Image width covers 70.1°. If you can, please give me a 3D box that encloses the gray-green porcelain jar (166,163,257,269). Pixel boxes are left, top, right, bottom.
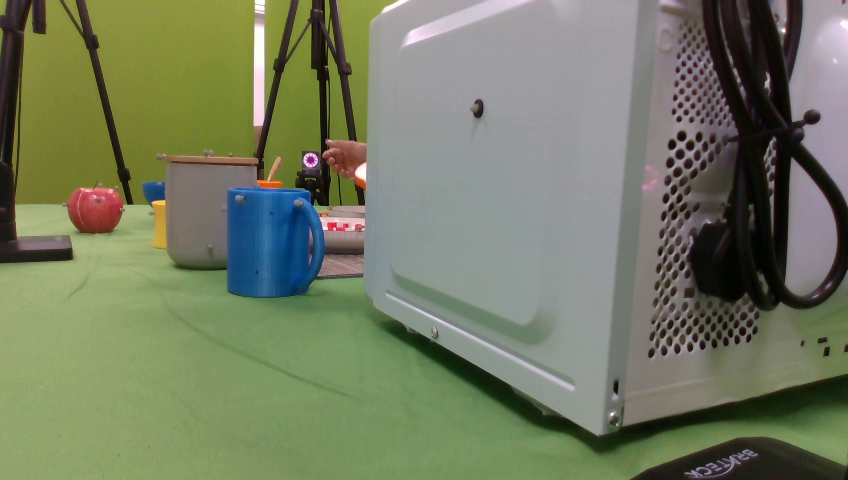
[{"bbox_3d":[-0.263,-0.031,0.754,0.106,0.126,0.106,2,7,0],"label":"gray-green porcelain jar"}]

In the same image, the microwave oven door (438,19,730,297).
[{"bbox_3d":[0.181,-0.076,0.618,0.358,0.243,0.039,-2,8,-28],"label":"microwave oven door"}]

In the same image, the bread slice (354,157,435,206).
[{"bbox_3d":[-0.060,-0.114,1.116,0.134,0.018,0.107,29,41,26],"label":"bread slice"}]

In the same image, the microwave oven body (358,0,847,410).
[{"bbox_3d":[0.210,-0.051,0.471,0.444,0.260,0.324,-1,7,-28],"label":"microwave oven body"}]

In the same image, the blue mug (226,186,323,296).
[{"bbox_3d":[-0.148,0.000,0.618,0.116,0.106,0.083,7,9,33],"label":"blue mug"}]

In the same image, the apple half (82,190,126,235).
[{"bbox_3d":[-0.517,-0.046,0.994,0.032,0.081,0.081,0,6,26],"label":"apple half"}]

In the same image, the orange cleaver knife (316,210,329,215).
[{"bbox_3d":[-0.259,-0.064,1.423,0.212,0.012,0.077,-4,3,-30],"label":"orange cleaver knife"}]

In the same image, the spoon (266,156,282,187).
[{"bbox_3d":[-0.391,-0.150,1.547,0.041,0.193,0.021,3,-37,8],"label":"spoon"}]

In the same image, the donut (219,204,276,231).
[{"bbox_3d":[-0.316,-0.039,1.083,0.099,0.048,0.099,2,7,0],"label":"donut"}]

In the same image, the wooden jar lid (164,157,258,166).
[{"bbox_3d":[-0.261,-0.093,0.746,0.108,0.020,0.108,1,9,0],"label":"wooden jar lid"}]

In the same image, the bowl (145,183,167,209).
[{"bbox_3d":[-0.459,-0.068,1.175,0.151,0.077,0.151,2,7,0],"label":"bowl"}]

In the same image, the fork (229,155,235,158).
[{"bbox_3d":[-0.459,-0.134,1.415,0.028,0.018,0.207,-1,-34,-24],"label":"fork"}]

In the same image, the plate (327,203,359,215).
[{"bbox_3d":[-0.102,-0.053,1.299,0.209,0.038,0.209,2,8,0],"label":"plate"}]

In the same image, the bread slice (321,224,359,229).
[{"bbox_3d":[-0.125,-0.010,0.938,0.131,0.019,0.105,7,9,31],"label":"bread slice"}]

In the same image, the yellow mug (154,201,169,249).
[{"bbox_3d":[-0.338,-0.022,0.899,0.130,0.064,0.100,8,9,34],"label":"yellow mug"}]

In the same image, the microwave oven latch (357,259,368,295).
[{"bbox_3d":[-0.019,0.031,0.529,0.079,0.029,0.030,-1,7,-26],"label":"microwave oven latch"}]

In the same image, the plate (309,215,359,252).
[{"bbox_3d":[-0.130,-0.011,0.945,0.208,0.039,0.207,2,8,0],"label":"plate"}]

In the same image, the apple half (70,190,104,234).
[{"bbox_3d":[-0.552,-0.047,1.009,0.053,0.074,0.081,0,9,26],"label":"apple half"}]
